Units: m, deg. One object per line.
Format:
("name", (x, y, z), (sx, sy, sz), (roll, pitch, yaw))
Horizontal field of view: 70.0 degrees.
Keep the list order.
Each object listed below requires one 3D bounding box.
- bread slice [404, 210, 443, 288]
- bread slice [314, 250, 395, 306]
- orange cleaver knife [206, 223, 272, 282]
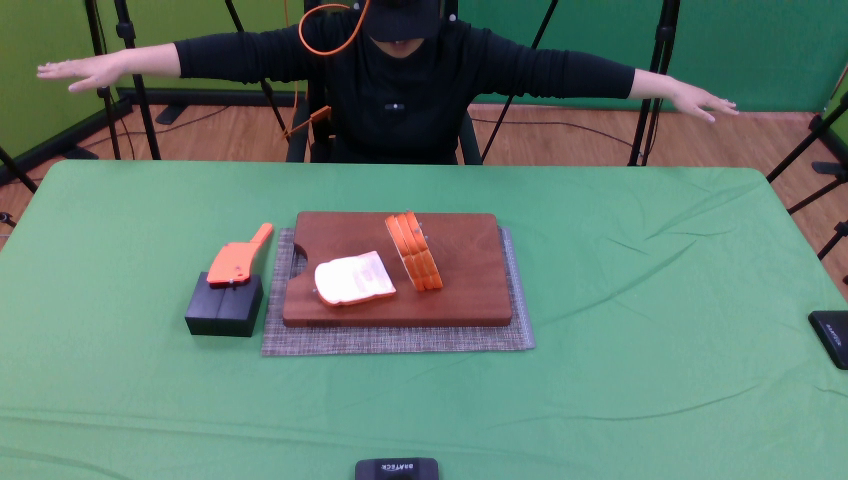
("bread slice", (-0.003, 0.013, 1.073), (0.018, 0.135, 0.106), (-23, 50, -2))
("bread slice", (-0.130, 0.070, 1.077), (0.132, 0.019, 0.104), (-11, 49, -20))
("orange cleaver knife", (-0.337, 0.020, 1.122), (0.077, 0.012, 0.210), (3, 29, 3))
